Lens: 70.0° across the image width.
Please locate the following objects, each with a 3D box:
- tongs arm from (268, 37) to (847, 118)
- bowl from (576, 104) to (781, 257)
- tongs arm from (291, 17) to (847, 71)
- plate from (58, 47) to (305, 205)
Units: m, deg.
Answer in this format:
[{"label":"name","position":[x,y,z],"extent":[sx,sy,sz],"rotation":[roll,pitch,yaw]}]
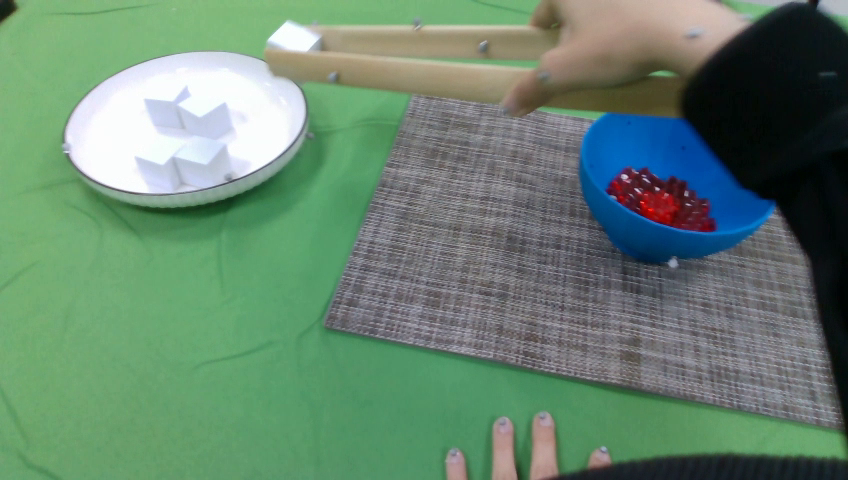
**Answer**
[{"label":"tongs arm","position":[0.051,-0.109,0.383],"extent":[0.385,0.028,0.028],"rotation":[12,44,27]},{"label":"bowl","position":[0.191,-0.039,0.491],"extent":[0.151,0.077,0.150],"rotation":[1,50,-1]},{"label":"tongs arm","position":[0.062,-0.124,0.396],"extent":[0.382,0.027,0.050],"rotation":[9,46,24]},{"label":"plate","position":[-0.213,-0.104,0.555],"extent":[0.209,0.038,0.207],"rotation":[2,50,-2]}]
